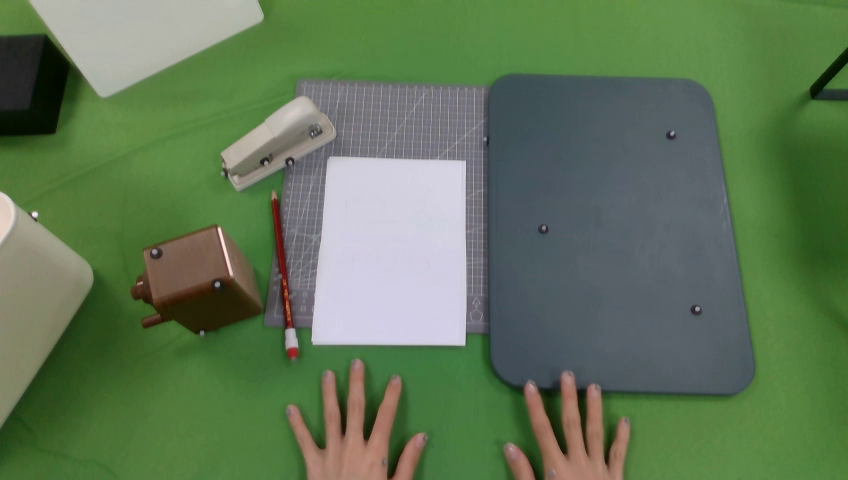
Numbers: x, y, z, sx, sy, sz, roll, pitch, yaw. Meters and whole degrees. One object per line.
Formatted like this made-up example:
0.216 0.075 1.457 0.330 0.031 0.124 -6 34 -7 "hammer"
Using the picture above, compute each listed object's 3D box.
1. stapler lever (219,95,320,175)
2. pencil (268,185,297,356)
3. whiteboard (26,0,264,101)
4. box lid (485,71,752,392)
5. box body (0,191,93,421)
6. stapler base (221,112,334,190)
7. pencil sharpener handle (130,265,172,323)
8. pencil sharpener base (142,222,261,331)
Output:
-0.167 -0.115 0.652 0.118 0.040 0.026 -32 68 -9 "stapler lever"
-0.150 0.027 0.631 0.012 0.012 0.192 -11 69 -4 "pencil"
-0.350 -0.353 0.653 0.217 0.308 0.142 -30 52 -11 "whiteboard"
0.198 -0.027 0.656 0.263 0.015 0.369 2 69 -1 "box lid"
-0.534 0.040 0.542 0.363 0.161 0.253 22 70 8 "box body"
-0.164 -0.106 0.675 0.130 0.024 0.041 -32 68 -8 "stapler base"
-0.256 0.054 0.555 0.031 0.068 0.035 -19 53 -7 "pencil sharpener handle"
-0.210 0.038 0.575 0.077 0.108 0.061 -19 70 -7 "pencil sharpener base"
